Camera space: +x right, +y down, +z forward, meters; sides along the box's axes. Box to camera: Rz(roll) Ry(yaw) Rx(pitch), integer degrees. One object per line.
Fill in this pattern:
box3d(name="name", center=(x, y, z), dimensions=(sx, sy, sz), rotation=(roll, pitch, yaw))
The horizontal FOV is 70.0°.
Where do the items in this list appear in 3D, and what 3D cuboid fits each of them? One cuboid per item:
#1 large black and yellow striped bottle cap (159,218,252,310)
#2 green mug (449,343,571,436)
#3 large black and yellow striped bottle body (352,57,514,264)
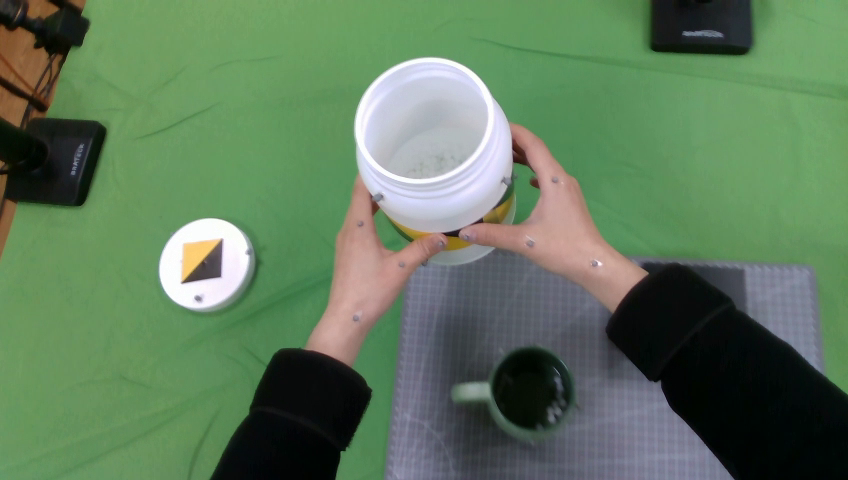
box3d(name="large black and yellow striped bottle cap", center=(-0.268, 0.028, 0.742), dimensions=(0.115, 0.019, 0.114), rotation=(-2, 72, 7))
box3d(name="green mug", center=(0.087, 0.151, 0.610), dimensions=(0.125, 0.105, 0.092), rotation=(-6, 72, 7))
box3d(name="large black and yellow striped bottle body", center=(0.013, -0.064, 0.543), dimensions=(0.130, 0.185, 0.130), rotation=(-3, 71, 9))
